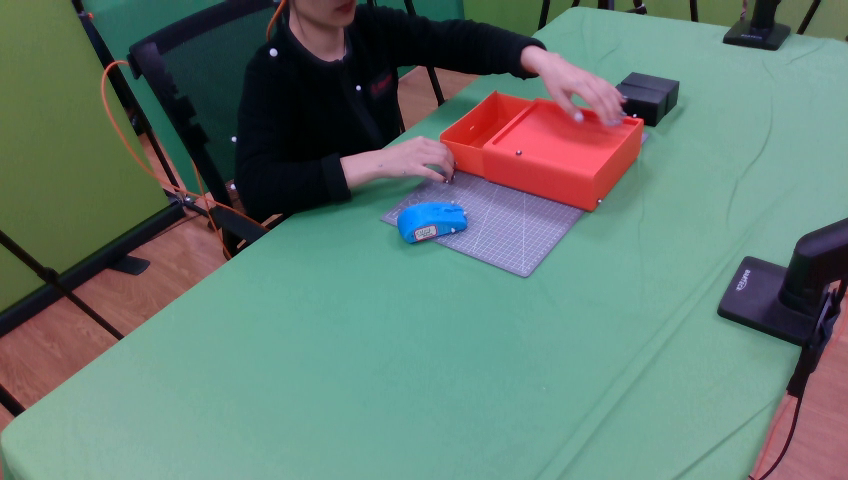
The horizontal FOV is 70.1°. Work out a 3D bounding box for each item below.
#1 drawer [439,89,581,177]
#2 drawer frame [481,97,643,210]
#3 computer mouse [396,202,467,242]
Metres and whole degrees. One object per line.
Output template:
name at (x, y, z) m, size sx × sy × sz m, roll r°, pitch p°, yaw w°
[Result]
drawer at (0.169, -0.190, 1.126) m, size 0.210 × 0.073 × 0.195 m, roll 22°, pitch 49°, yaw 31°
drawer frame at (0.245, -0.161, 1.074) m, size 0.212 × 0.083 × 0.202 m, roll 21°, pitch 48°, yaw 30°
computer mouse at (0.012, -0.036, 1.005) m, size 0.117 × 0.041 × 0.062 m, roll -11°, pitch 38°, yaw -8°
